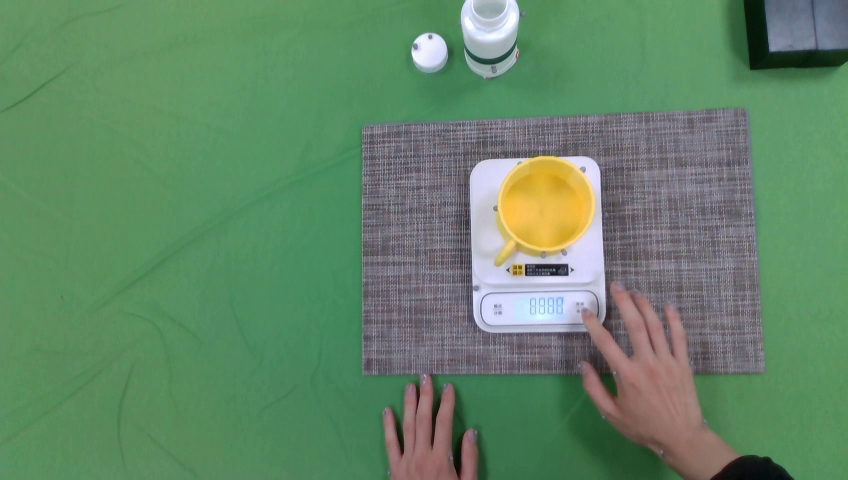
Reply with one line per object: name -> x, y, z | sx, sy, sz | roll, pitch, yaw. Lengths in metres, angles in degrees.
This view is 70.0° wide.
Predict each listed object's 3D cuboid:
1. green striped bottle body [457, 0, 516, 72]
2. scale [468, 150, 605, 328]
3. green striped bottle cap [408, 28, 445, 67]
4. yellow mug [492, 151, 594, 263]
green striped bottle body -> 0.070, -0.241, 0.679 | 0.063, 0.119, 0.063 | -1, 83, 6
scale -> 0.127, -0.002, 0.689 | 0.148, 0.031, 0.200 | -2, 85, 6
green striped bottle cap -> 0.003, -0.235, 0.739 | 0.044, 0.020, 0.044 | 0, 90, 5
yellow mug -> 0.116, -0.027, 0.646 | 0.099, 0.064, 0.131 | 39, 89, 8
